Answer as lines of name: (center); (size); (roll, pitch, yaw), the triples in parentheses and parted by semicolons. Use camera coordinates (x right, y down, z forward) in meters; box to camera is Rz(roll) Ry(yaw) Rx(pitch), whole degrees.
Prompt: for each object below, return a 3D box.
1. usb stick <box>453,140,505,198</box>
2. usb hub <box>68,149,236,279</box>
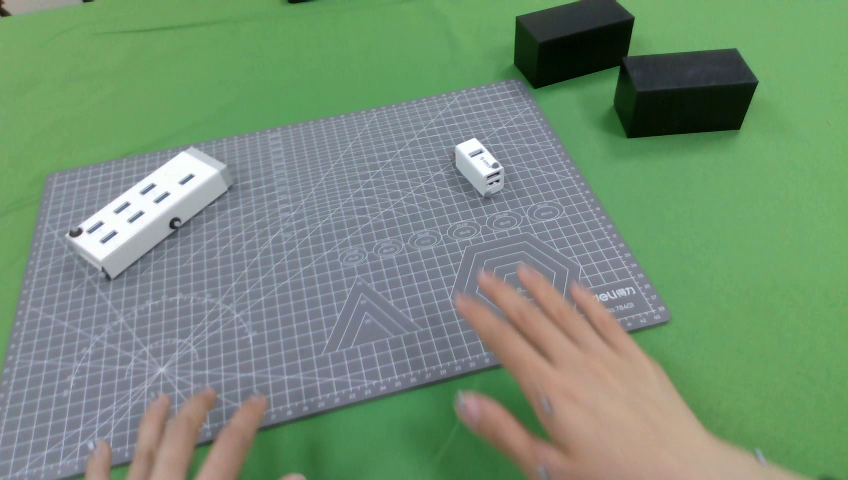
usb stick: (0.043, -0.063, 0.505); (0.021, 0.027, 0.058); (-27, 49, -13)
usb hub: (-0.218, -0.025, 0.493); (0.049, 0.025, 0.125); (28, 56, 26)
